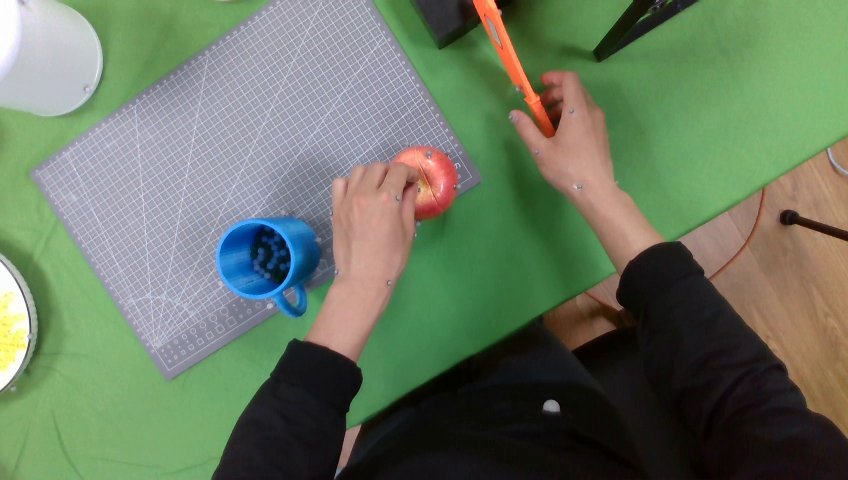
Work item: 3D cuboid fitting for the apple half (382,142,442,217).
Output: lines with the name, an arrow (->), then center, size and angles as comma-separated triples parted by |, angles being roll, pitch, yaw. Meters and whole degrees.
apple half -> -0.018, -0.061, 0.663 | 0.053, 0.074, 0.081 | -24, 97, 9

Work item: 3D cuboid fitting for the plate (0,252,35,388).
plate -> -0.563, 0.090, 0.725 | 0.209, 0.038, 0.209 | 0, 96, 3

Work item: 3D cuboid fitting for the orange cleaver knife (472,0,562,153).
orange cleaver knife -> 0.094, -0.183, 0.641 | 0.012, 0.076, 0.213 | -32, 123, 5

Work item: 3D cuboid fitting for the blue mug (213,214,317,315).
blue mug -> -0.162, 0.028, 0.662 | 0.082, 0.106, 0.116 | -24, 93, 5

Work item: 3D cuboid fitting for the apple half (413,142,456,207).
apple half -> 0.017, -0.077, 0.658 | 0.033, 0.081, 0.081 | -24, 93, 10

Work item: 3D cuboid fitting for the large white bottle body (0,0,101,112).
large white bottle body -> -0.443, -0.208, 0.619 | 0.130, 0.184, 0.130 | 0, 94, 4
